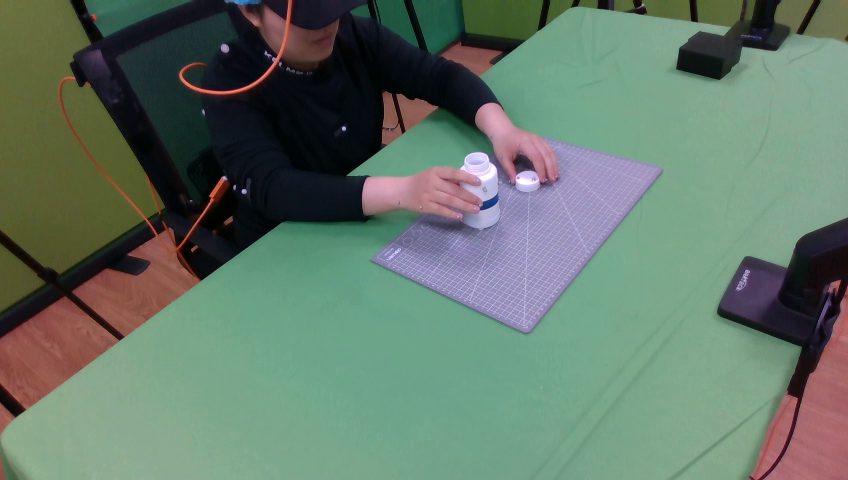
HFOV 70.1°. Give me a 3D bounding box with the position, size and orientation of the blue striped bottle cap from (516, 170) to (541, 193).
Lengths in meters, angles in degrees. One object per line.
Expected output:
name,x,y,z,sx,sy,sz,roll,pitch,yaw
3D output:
blue striped bottle cap,0.186,-0.104,1.074,0.044,0.021,0.044,-5,42,5

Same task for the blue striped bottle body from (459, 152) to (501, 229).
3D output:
blue striped bottle body,0.090,-0.083,0.983,0.063,0.121,0.063,-6,40,5
